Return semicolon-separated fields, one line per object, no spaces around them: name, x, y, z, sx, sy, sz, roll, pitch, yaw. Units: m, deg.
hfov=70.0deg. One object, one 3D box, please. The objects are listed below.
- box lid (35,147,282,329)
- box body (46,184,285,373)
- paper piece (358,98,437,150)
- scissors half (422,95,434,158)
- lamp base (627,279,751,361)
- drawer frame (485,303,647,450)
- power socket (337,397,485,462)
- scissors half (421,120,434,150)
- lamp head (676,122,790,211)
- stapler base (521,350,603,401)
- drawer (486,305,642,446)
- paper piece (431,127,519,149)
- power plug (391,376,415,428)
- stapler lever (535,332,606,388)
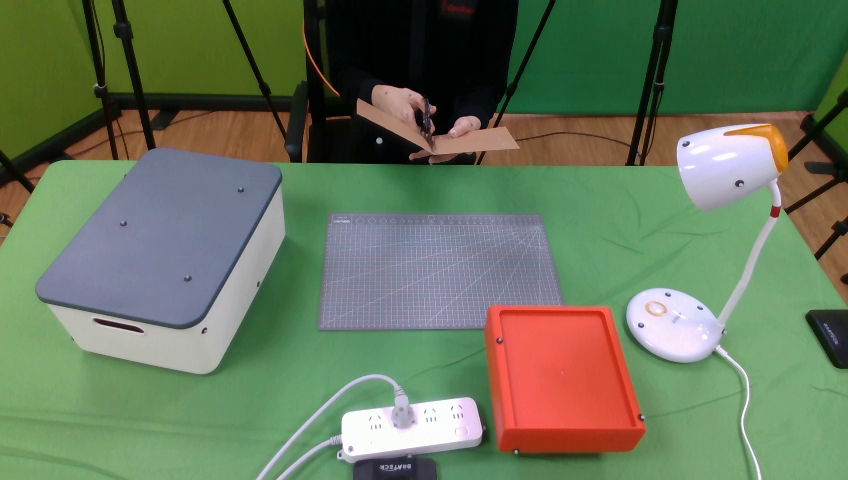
box lid;-0.411;-0.023;0.987;0.263;0.015;0.369;10;47;5
box body;-0.414;0.029;1.040;0.254;0.161;0.362;10;46;5
paper piece;-0.043;-0.188;0.978;0.136;0.004;0.135;25;18;-12
scissors half;0.007;-0.194;1.023;0.013;0.040;0.174;-4;47;-3
lamp base;0.460;0.100;1.027;0.178;0.181;0.160;27;51;17
drawer frame;0.204;0.202;0.917;0.202;0.083;0.212;1;47;-4
power socket;-0.018;0.285;0.915;0.227;0.033;0.071;-4;46;-8
scissors half;0.007;-0.175;1.035;0.013;0.040;0.174;0;19;-5
lamp head;0.423;-0.104;0.819;0.122;0.113;0.112;-13;33;40
stapler base;0.217;0.203;0.942;0.130;0.024;0.041;26;34;16
drawer;0.202;0.200;0.918;0.195;0.073;0.210;2;47;-4
paper piece;0.080;-0.166;0.999;0.136;0.009;0.137;-1;22;-2
power plug;-0.030;0.249;0.917;0.035;0.053;0.072;3;46;-1
stapler lever;0.225;0.182;0.928;0.118;0.040;0.027;27;34;15
